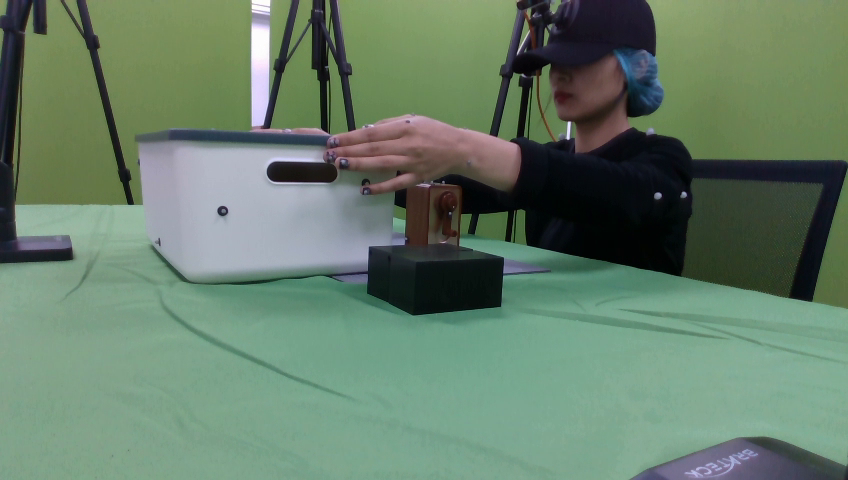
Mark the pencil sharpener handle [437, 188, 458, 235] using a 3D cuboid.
[{"bbox_3d":[0.041,-0.041,0.877,0.036,0.067,0.030,1,7,-30],"label":"pencil sharpener handle"}]

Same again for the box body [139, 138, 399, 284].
[{"bbox_3d":[-0.222,-0.056,0.807,0.255,0.160,0.362,-3,9,-31],"label":"box body"}]

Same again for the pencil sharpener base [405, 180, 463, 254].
[{"bbox_3d":[0.016,-0.035,0.922,0.061,0.107,0.076,-2,9,-30],"label":"pencil sharpener base"}]

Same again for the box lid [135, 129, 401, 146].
[{"bbox_3d":[-0.220,-0.130,0.795,0.265,0.015,0.369,-4,10,-31],"label":"box lid"}]
